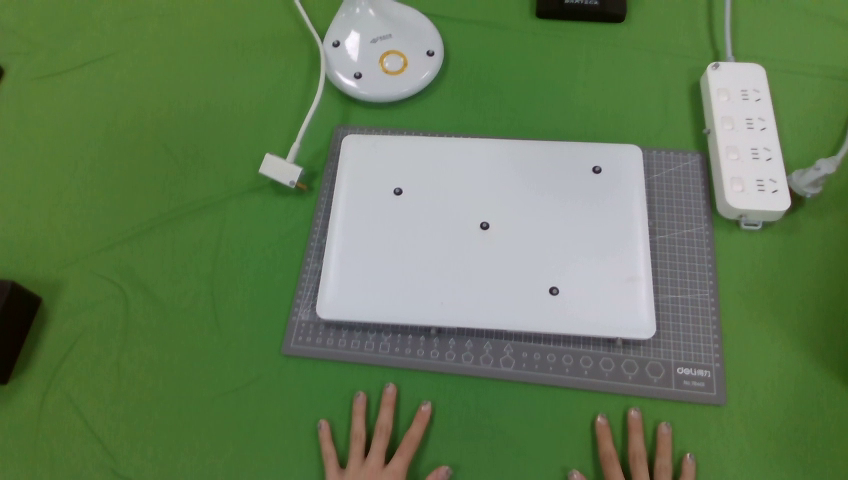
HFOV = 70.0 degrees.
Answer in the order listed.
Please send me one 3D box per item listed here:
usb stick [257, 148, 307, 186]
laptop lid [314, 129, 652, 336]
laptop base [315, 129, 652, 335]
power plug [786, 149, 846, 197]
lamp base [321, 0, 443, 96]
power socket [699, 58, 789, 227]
[{"bbox_3d":[-0.163,-0.084,0.712,0.059,0.021,0.027,29,97,-10],"label":"usb stick"},{"bbox_3d":[0.066,-0.018,0.667,0.356,0.013,0.240,4,67,5],"label":"laptop lid"},{"bbox_3d":[0.067,-0.015,0.679,0.354,0.023,0.234,3,68,4],"label":"laptop base"},{"bbox_3d":[0.438,-0.070,0.676,0.073,0.053,0.035,-8,59,-18],"label":"power plug"},{"bbox_3d":[-0.066,-0.297,0.729,0.160,0.182,0.177,-31,64,-12],"label":"lamp base"},{"bbox_3d":[0.370,-0.123,0.709,0.072,0.033,0.225,5,65,3],"label":"power socket"}]
